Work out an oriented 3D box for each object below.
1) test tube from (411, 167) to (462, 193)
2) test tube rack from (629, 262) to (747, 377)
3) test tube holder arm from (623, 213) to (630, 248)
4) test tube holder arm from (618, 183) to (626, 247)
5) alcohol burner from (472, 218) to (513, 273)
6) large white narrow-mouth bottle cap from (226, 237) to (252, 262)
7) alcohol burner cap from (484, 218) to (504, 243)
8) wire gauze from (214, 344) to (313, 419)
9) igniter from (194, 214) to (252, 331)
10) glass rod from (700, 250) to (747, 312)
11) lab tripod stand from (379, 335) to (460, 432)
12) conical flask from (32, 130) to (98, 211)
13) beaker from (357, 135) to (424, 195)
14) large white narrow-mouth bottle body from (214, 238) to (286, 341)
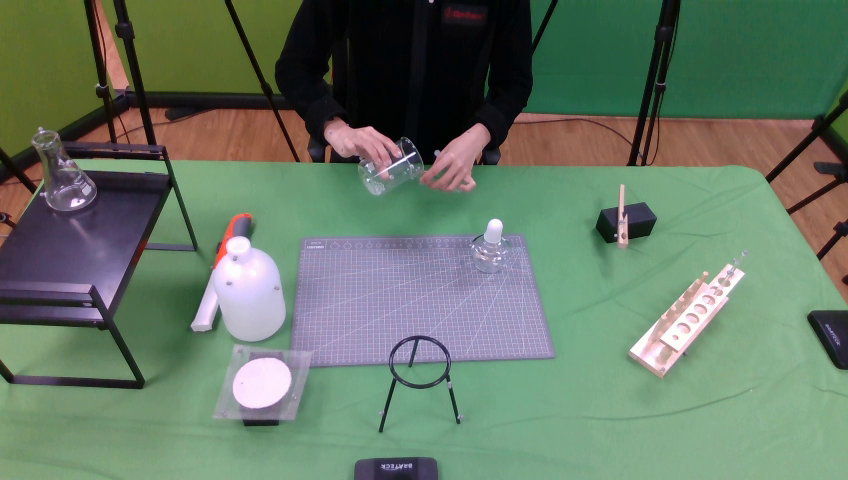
[{"bbox_3d":[0.028,-0.116,1.184,0.151,0.017,0.017,16,28,-49],"label":"test tube"},{"bbox_3d":[0.464,0.126,1.060,0.242,0.085,0.066,-34,56,-30],"label":"test tube rack"},{"bbox_3d":[0.392,-0.020,1.180,0.010,0.015,0.087,15,47,-1],"label":"test tube holder arm"},{"bbox_3d":[0.395,-0.053,1.210,0.013,0.015,0.177,15,47,-1],"label":"test tube holder arm"},{"bbox_3d":[0.128,0.005,1.132,0.078,0.120,0.077,0,47,0],"label":"alcohol burner"},{"bbox_3d":[-0.282,0.014,0.923,0.038,0.024,0.037,2,46,-2],"label":"large white narrow-mouth bottle cap"},{"bbox_3d":[0.130,-0.021,1.106,0.034,0.048,0.033,3,51,-4],"label":"alcohol burner cap"},{"bbox_3d":[-0.241,0.213,0.916,0.121,0.011,0.124,5,46,1],"label":"wire gauze"},{"bbox_3d":[-0.367,0.050,1.119,0.057,0.025,0.275,-4,46,7],"label":"igniter"},{"bbox_3d":[0.500,0.075,1.021,0.008,0.201,0.008,0,55,1],"label":"glass rod"},{"bbox_3d":[-0.010,0.214,0.911,0.148,0.132,0.147,1,45,0],"label":"lab tripod stand"},{"bbox_3d":[-0.565,-0.110,0.944,0.075,0.122,0.075,2,46,-2],"label":"conical flask"},{"bbox_3d":[-0.061,-0.130,1.086,0.100,0.084,0.073,-31,55,-16],"label":"beaker"},{"bbox_3d":[-0.285,0.073,0.986,0.102,0.195,0.101,2,46,-2],"label":"large white narrow-mouth bottle body"}]
